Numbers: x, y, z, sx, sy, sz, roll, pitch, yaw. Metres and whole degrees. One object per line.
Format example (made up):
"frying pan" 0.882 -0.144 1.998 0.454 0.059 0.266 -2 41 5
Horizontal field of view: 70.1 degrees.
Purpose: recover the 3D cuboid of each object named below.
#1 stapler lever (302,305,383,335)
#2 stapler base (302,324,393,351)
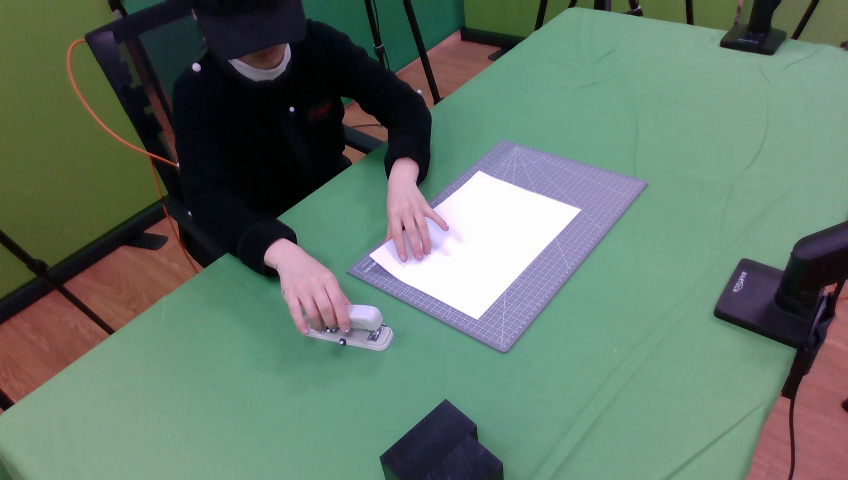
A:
"stapler lever" -0.113 0.105 0.829 0.117 0.040 0.027 7 40 18
"stapler base" -0.109 0.123 0.845 0.130 0.024 0.041 7 40 19
